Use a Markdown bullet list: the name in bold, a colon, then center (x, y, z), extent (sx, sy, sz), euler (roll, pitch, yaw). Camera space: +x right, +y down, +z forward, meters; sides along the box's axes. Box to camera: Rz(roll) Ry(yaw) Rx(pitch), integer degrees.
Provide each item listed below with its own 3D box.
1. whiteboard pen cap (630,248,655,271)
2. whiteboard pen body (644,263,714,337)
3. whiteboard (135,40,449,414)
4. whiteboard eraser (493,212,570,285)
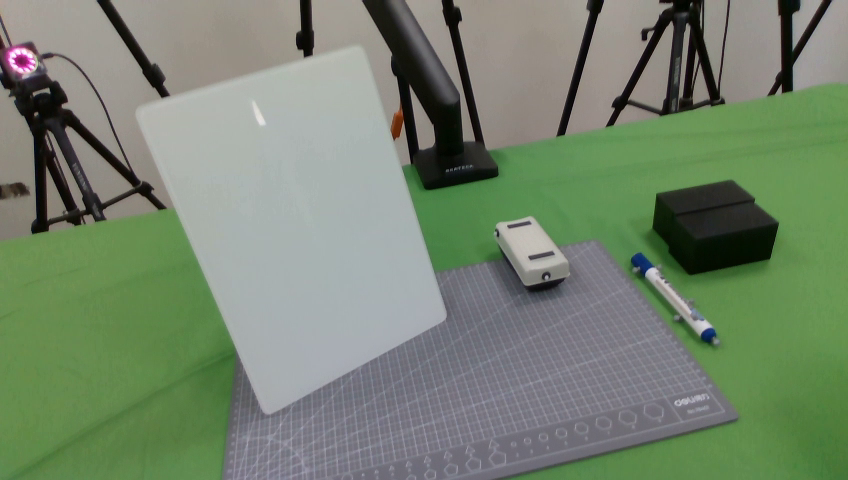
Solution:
- **whiteboard pen cap**: center (0.255, 0.024, 0.706), extent (0.018, 0.018, 0.033), euler (-13, 33, -8)
- **whiteboard pen body**: center (0.269, 0.056, 0.659), extent (0.017, 0.017, 0.139), euler (-12, 34, -7)
- **whiteboard**: center (-0.136, -0.021, 0.640), extent (0.217, 0.307, 0.143), euler (-25, 18, -23)
- **whiteboard eraser**: center (0.126, 0.010, 0.726), extent (0.055, 0.042, 0.111), euler (-14, 35, -7)
